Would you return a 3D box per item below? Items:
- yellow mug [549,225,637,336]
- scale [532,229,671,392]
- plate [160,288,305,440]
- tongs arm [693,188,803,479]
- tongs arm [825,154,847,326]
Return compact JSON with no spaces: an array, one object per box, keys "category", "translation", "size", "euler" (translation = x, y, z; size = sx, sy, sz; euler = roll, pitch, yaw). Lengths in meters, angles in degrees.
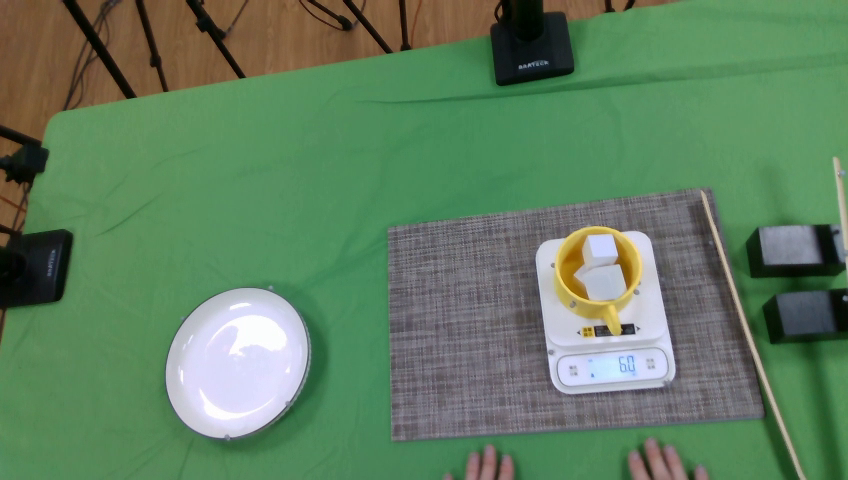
[{"category":"yellow mug","translation":[0.208,0.053,0.736],"size":[0.100,0.064,0.130],"euler":[-16,68,4]},{"category":"scale","translation":[0.222,0.086,0.772],"size":[0.148,0.032,0.199],"euler":[-7,68,9]},{"category":"plate","translation":[-0.260,0.170,0.837],"size":[0.207,0.039,0.206],"euler":[-4,68,9]},{"category":"tongs arm","translation":[0.393,0.109,0.729],"size":[0.028,0.028,0.384],"euler":[-22,66,26]},{"category":"tongs arm","translation":[0.458,0.091,0.683],"size":[0.050,0.027,0.382],"euler":[-9,73,34]}]
